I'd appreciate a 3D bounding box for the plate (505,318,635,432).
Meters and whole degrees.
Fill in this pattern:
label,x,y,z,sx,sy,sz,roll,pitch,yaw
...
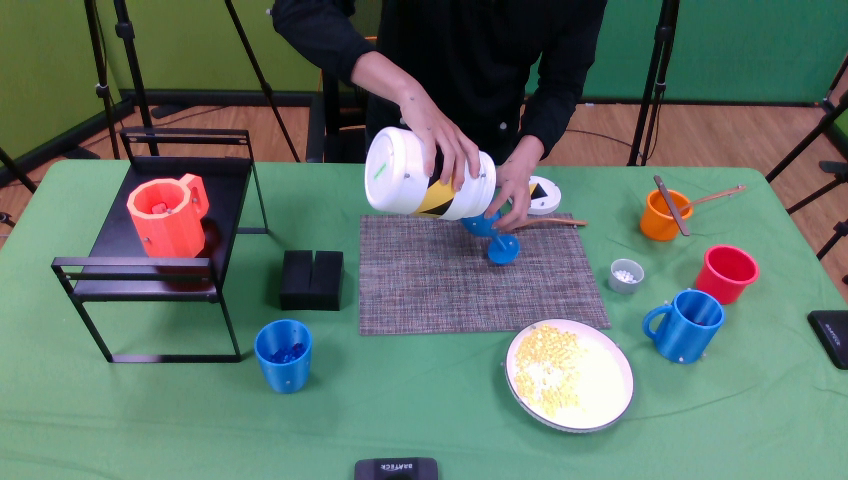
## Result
label,x,y,z,sx,sy,sz,roll,pitch,yaw
plate,0.235,0.221,0.991,0.209,0.038,0.208,2,45,-2

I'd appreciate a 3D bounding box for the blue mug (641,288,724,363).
label,x,y,z,sx,sy,sz,roll,pitch,yaw
blue mug,0.432,0.144,1.033,0.116,0.106,0.082,9,46,5

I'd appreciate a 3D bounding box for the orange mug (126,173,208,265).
label,x,y,z,sx,sy,sz,roll,pitch,yaw
orange mug,-0.371,-0.039,0.902,0.083,0.101,0.126,18,52,13

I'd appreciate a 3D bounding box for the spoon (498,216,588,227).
label,x,y,z,sx,sy,sz,roll,pitch,yaw
spoon,0.246,-0.039,1.247,0.194,0.022,0.041,-2,24,-6

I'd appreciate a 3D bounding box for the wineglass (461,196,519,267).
label,x,y,z,sx,sy,sz,roll,pitch,yaw
wineglass,0.118,-0.025,1.098,0.073,0.173,0.073,-13,55,20

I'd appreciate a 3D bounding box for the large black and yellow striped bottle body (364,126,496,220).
label,x,y,z,sx,sy,sz,roll,pitch,yaw
large black and yellow striped bottle body,0.010,-0.102,0.966,0.185,0.131,0.130,6,42,-28

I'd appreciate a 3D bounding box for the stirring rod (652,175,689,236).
label,x,y,z,sx,sy,sz,roll,pitch,yaw
stirring rod,0.492,-0.072,1.211,0.014,0.006,0.175,0,46,-7

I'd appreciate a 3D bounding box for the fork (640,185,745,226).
label,x,y,z,sx,sy,sz,roll,pitch,yaw
fork,0.534,-0.069,1.215,0.207,0.019,0.028,-26,27,33

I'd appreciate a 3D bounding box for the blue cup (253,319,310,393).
label,x,y,z,sx,sy,sz,roll,pitch,yaw
blue cup,-0.217,0.187,0.943,0.093,0.101,0.092,4,45,-3

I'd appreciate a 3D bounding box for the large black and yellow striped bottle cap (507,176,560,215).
label,x,y,z,sx,sy,sz,roll,pitch,yaw
large black and yellow striped bottle cap,0.237,-0.098,1.312,0.115,0.019,0.114,2,43,-1

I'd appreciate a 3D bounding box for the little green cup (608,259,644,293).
label,x,y,z,sx,sy,sz,roll,pitch,yaw
little green cup,0.379,0.070,1.147,0.061,0.039,0.061,3,45,-3
